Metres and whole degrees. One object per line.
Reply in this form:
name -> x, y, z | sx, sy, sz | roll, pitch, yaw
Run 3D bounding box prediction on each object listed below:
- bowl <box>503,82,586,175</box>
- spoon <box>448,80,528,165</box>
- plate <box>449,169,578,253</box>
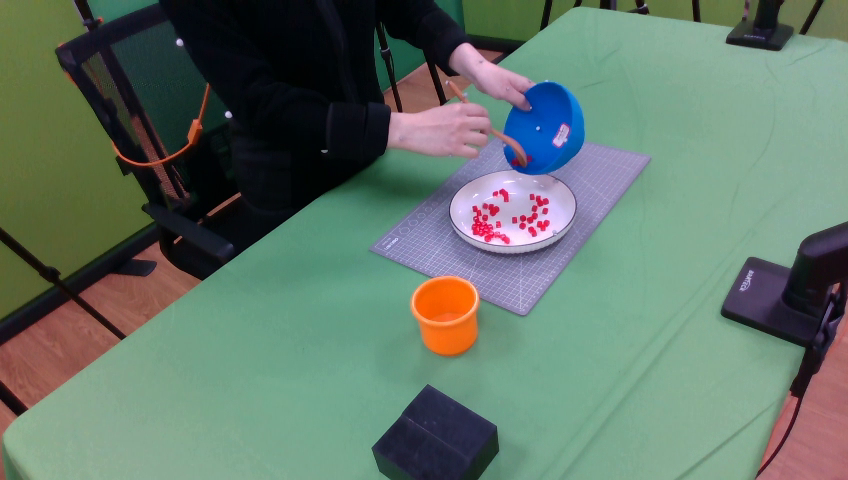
bowl -> 0.209, -0.173, 0.983 | 0.077, 0.151, 0.150 | 10, 27, -36
spoon -> 0.101, -0.176, 0.921 | 0.021, 0.195, 0.041 | -48, 32, 14
plate -> 0.146, -0.044, 0.993 | 0.209, 0.038, 0.208 | -5, 40, 5
